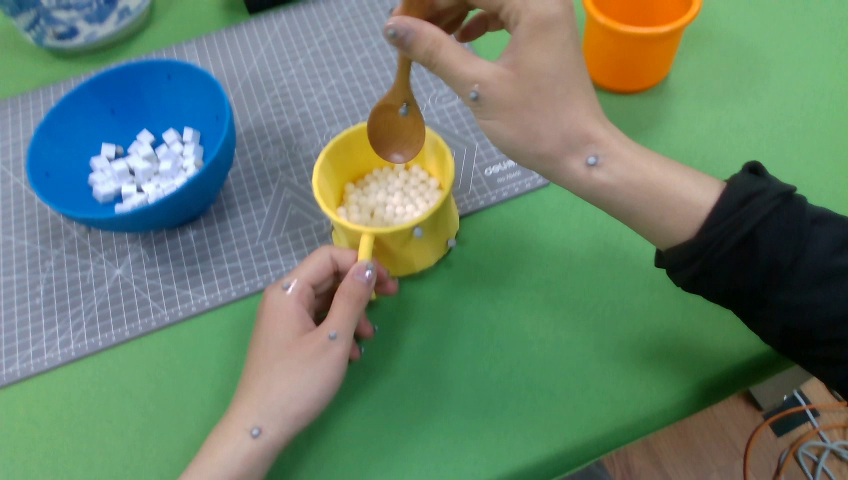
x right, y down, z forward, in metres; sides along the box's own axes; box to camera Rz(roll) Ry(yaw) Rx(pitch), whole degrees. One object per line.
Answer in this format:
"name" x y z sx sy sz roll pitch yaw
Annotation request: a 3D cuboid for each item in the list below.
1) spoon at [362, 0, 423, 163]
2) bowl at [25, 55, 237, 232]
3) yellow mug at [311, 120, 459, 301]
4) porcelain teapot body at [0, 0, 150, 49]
"spoon" -0.011 -0.103 0.342 0.041 0.195 0.021 17 65 -1
"bowl" -0.209 -0.061 0.470 0.151 0.077 0.150 -2 60 4
"yellow mug" -0.028 -0.019 0.434 0.100 0.064 0.130 5 61 9
"porcelain teapot body" -0.379 -0.285 0.531 0.205 0.227 0.144 -16 61 -2
